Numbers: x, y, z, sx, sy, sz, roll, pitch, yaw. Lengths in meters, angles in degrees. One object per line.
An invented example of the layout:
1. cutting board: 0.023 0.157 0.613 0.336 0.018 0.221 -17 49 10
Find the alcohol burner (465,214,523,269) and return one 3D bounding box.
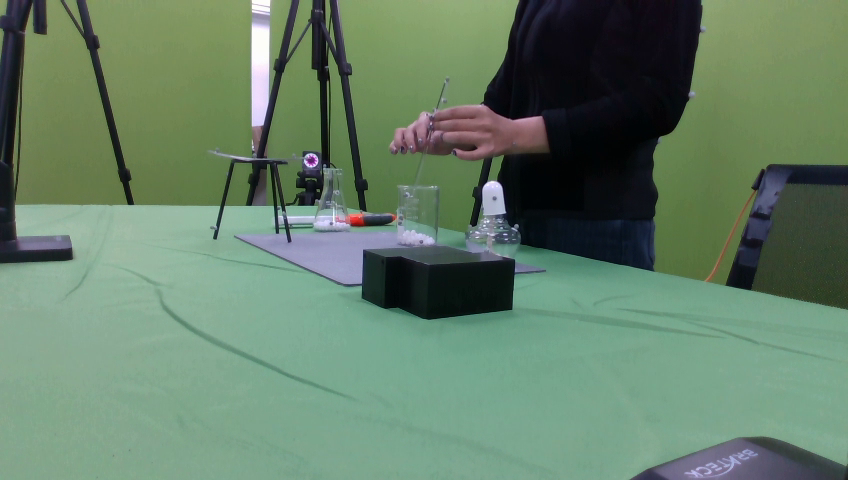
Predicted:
1. alcohol burner: 0.094 -0.022 0.815 0.078 0.119 0.078 0 7 0

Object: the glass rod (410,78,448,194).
1. glass rod: 0.007 -0.166 0.985 0.008 0.199 0.008 15 22 -6

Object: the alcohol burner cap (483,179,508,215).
1. alcohol burner cap: 0.094 -0.057 0.810 0.034 0.048 0.034 -7 6 1

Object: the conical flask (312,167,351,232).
1. conical flask: -0.176 -0.078 1.162 0.075 0.122 0.075 3 7 0

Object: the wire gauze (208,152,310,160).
1. wire gauze: -0.270 -0.135 0.993 0.124 0.011 0.122 9 8 41

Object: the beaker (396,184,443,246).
1. beaker: -0.011 -0.043 1.004 0.083 0.100 0.074 8 9 39

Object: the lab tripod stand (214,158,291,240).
1. lab tripod stand: -0.268 -0.068 1.002 0.148 0.131 0.148 3 6 0

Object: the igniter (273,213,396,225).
1. igniter: -0.179 -0.044 1.258 0.278 0.025 0.057 -3 -1 -39
